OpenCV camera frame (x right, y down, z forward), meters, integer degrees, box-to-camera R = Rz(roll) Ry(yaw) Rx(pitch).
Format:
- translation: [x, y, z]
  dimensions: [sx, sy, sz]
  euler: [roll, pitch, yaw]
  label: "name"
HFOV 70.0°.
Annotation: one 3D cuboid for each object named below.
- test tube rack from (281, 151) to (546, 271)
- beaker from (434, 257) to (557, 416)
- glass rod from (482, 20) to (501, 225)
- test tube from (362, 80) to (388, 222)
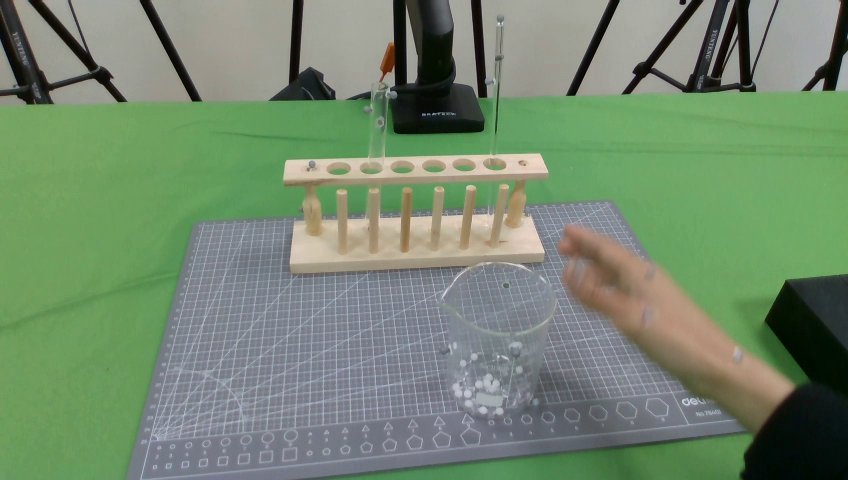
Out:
- translation: [-0.008, -0.028, 0.576]
  dimensions: [0.243, 0.086, 0.066]
  euler: [-2, 40, -6]
  label: "test tube rack"
- translation: [0.049, 0.074, 0.444]
  dimensions: [0.084, 0.101, 0.073]
  euler: [-2, 39, -3]
  label: "beaker"
- translation: [0.062, -0.101, 0.564]
  dimensions: [0.008, 0.201, 0.008]
  euler: [0, 33, 0]
  label: "glass rod"
- translation: [-0.046, -0.075, 0.551]
  dimensions: [0.017, 0.151, 0.017]
  euler: [5, 41, -4]
  label: "test tube"
